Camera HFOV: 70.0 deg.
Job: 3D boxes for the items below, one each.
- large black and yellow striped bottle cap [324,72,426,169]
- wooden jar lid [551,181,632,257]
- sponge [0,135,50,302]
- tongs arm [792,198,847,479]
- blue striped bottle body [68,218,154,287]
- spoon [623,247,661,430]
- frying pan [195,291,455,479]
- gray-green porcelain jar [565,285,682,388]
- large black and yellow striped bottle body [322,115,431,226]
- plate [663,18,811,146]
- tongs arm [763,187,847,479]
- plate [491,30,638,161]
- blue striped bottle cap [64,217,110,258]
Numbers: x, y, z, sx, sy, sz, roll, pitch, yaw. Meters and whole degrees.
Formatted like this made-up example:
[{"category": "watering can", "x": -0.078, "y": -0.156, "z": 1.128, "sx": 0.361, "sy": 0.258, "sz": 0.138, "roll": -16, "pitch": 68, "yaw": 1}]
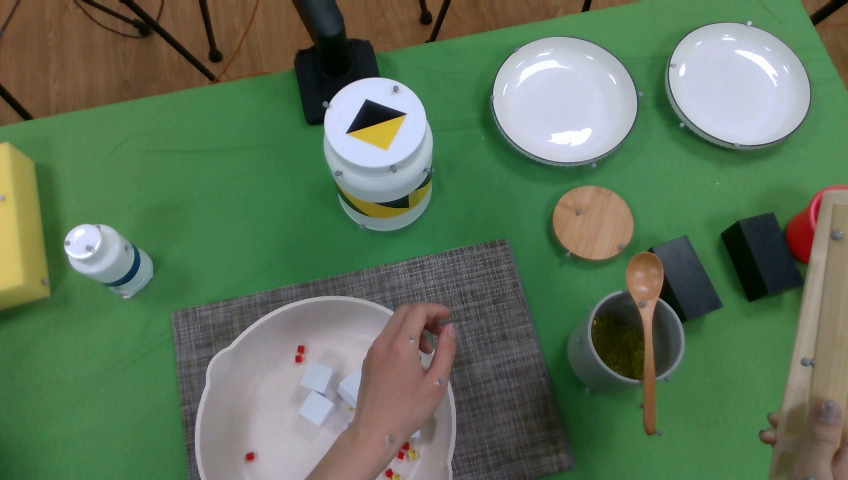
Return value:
[{"category": "large black and yellow striped bottle cap", "x": -0.055, "y": -0.135, "z": 0.681, "sx": 0.115, "sy": 0.019, "sz": 0.114, "roll": 0, "pitch": 73, "yaw": -1}, {"category": "wooden jar lid", "x": 0.226, "y": -0.028, "z": 0.824, "sx": 0.108, "sy": 0.021, "sz": 0.108, "roll": 0, "pitch": 73, "yaw": -1}, {"category": "sponge", "x": -0.576, "y": -0.022, "z": 0.789, "sx": 0.118, "sy": 0.061, "sz": 0.205, "roll": -17, "pitch": 74, "yaw": -7}, {"category": "tongs arm", "x": 0.295, "y": 0.152, "z": 0.469, "sx": 0.026, "sy": 0.050, "sz": 0.386, "roll": -1, "pitch": 106, "yaw": 10}, {"category": "blue striped bottle body", "x": -0.389, "y": 0.014, "z": 0.748, "sx": 0.063, "sy": 0.121, "sz": 0.062, "roll": 0, "pitch": 71, "yaw": 0}, {"category": "spoon", "x": 0.236, "y": 0.104, "z": 0.651, "sx": 0.042, "sy": 0.022, "sz": 0.192, "roll": 4, "pitch": 75, "yaw": -3}, {"category": "frying pan", "x": -0.159, "y": 0.289, "z": 0.667, "sx": 0.306, "sy": 0.103, "sz": 0.486, "roll": 27, "pitch": 65, "yaw": 9}, {"category": "gray-green porcelain jar", "x": 0.229, "y": 0.120, "z": 0.720, "sx": 0.106, "sy": 0.127, "sz": 0.105, "roll": 0, "pitch": 71, "yaw": 0}, {"category": "large black and yellow striped bottle body", "x": -0.056, "y": -0.107, "z": 0.761, "sx": 0.131, "sy": 0.185, "sz": 0.130, "roll": 0, "pitch": 71, "yaw": 0}, {"category": "plate", "x": 0.449, "y": -0.227, "z": 0.882, "sx": 0.209, "sy": 0.038, "sz": 0.207, "roll": 0, "pitch": 72, "yaw": 0}, {"category": "tongs arm", "x": 0.299, "y": 0.145, "z": 0.487, "sx": 0.028, "sy": 0.028, "sz": 0.390, "roll": -2, "pitch": 111, "yaw": 7}, {"category": "plate", "x": 0.198, "y": -0.204, "z": 0.873, "sx": 0.208, "sy": 0.039, "sz": 0.206, "roll": 0, "pitch": 72, "yaw": 0}, {"category": "blue striped bottle cap", "x": -0.390, "y": -0.003, "z": 0.700, "sx": 0.044, "sy": 0.021, "sz": 0.044, "roll": 0, "pitch": 74, "yaw": -1}]
